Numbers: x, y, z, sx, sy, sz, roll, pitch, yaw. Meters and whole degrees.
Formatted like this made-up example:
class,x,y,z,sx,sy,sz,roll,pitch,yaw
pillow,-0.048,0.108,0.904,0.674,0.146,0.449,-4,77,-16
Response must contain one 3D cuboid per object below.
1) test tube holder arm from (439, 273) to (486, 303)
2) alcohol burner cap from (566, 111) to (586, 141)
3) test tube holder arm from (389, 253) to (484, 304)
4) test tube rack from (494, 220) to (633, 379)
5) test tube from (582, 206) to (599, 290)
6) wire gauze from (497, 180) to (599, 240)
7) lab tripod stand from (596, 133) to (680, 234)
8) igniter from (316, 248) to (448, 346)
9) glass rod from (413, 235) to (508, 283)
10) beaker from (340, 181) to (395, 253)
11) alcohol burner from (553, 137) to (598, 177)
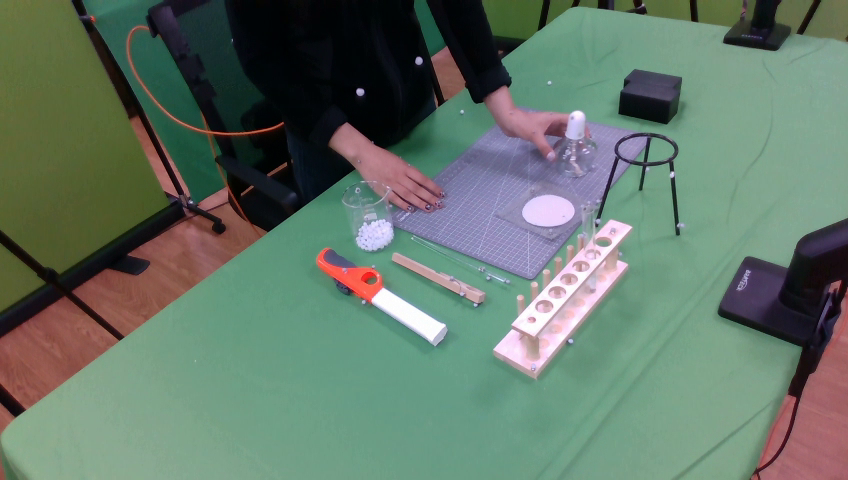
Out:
class,x,y,z,sx,sy,sz,roll,pitch,yaw
test tube holder arm,0.053,0.071,0.895,0.087,0.015,0.010,24,13,33
alcohol burner cap,0.262,-0.198,1.036,0.034,0.048,0.033,-3,45,3
test tube holder arm,0.015,0.056,0.915,0.177,0.015,0.013,24,13,32
test tube rack,0.191,0.068,0.818,0.066,0.085,0.243,25,51,35
test tube,0.220,0.015,0.798,0.017,0.151,0.017,-9,43,9
wire gauze,0.207,-0.050,1.011,0.125,0.011,0.120,-34,45,-26
lab tripod stand,0.338,-0.090,0.940,0.148,0.132,0.147,-7,38,6
igniter,-0.074,0.078,0.901,0.274,0.025,0.057,29,63,36
glass rod,0.052,0.028,0.951,0.198,0.008,0.008,26,52,37
beaker,-0.086,-0.037,0.985,0.084,0.101,0.073,-18,41,-11
alcohol burner,0.265,-0.171,1.060,0.078,0.119,0.077,-5,38,4
